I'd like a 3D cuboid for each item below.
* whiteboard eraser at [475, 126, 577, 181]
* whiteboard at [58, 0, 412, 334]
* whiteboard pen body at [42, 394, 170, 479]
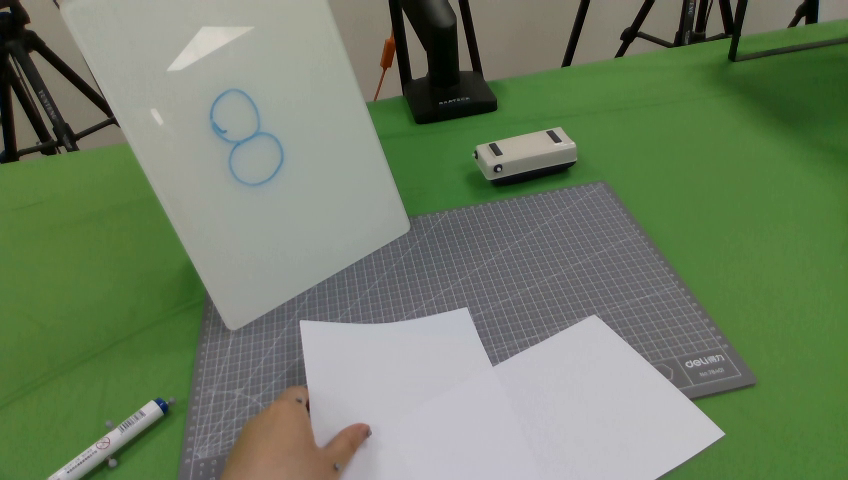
[{"bbox_3d":[0.120,-0.101,0.721,0.113,0.042,0.055,-12,42,-8],"label":"whiteboard eraser"},{"bbox_3d":[-0.180,-0.105,0.610,0.217,0.307,0.142,-30,24,-25],"label":"whiteboard"},{"bbox_3d":[-0.259,0.168,0.463,0.017,0.017,0.140,24,47,32],"label":"whiteboard pen body"}]
